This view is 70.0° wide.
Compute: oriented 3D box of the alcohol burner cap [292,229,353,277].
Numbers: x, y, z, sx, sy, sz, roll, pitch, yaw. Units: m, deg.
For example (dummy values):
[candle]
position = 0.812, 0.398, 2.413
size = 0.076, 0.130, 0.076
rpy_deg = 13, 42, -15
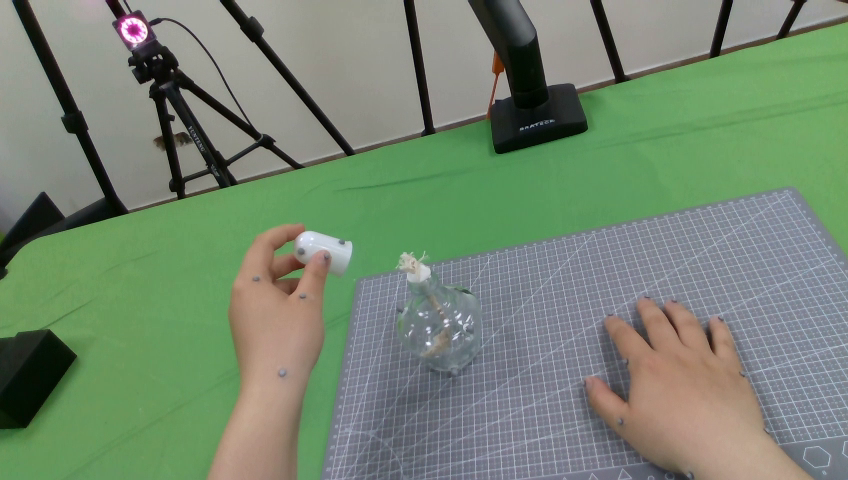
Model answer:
[alcohol burner cap]
position = -0.084, 0.008, 0.497
size = 0.034, 0.048, 0.033
rpy_deg = -44, 34, 42

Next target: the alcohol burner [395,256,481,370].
[alcohol burner]
position = 0.008, 0.057, 0.522
size = 0.078, 0.120, 0.077
rpy_deg = -12, 40, 10
